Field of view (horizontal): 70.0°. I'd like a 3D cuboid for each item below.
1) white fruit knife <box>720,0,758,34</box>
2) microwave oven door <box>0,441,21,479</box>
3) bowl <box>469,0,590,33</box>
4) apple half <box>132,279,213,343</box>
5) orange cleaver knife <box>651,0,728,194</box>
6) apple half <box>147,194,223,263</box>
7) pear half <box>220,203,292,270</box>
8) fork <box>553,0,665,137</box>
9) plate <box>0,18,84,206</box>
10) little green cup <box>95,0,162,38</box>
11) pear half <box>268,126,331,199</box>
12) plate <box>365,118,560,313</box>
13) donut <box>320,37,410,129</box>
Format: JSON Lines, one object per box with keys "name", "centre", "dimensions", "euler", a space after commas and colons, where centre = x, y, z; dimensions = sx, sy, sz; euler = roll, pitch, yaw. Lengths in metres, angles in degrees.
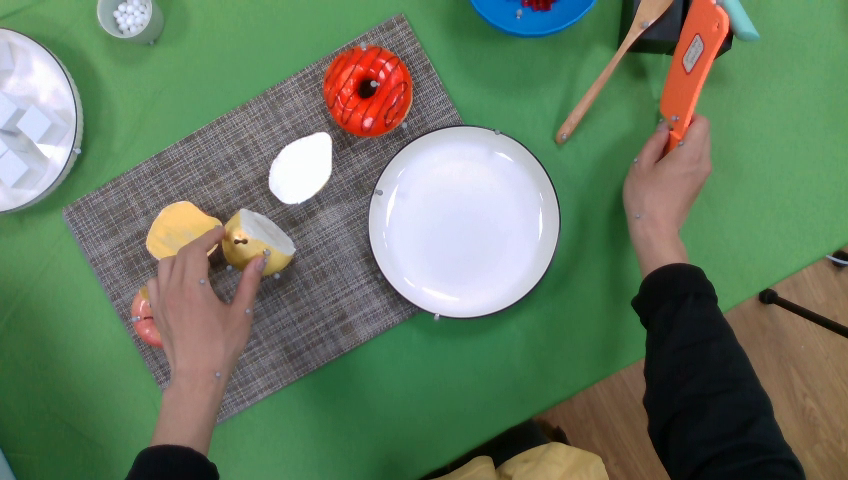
{"name": "white fruit knife", "centre": [0.277, -0.297, 0.604], "dimensions": [0.027, 0.016, 0.207], "euler": [-27, 89, -26]}
{"name": "microwave oven door", "centre": [-0.494, 0.261, 0.577], "dimensions": [0.039, 0.244, 0.355], "euler": [-27, 91, 3]}
{"name": "bowl", "centre": [0.107, -0.283, 0.630], "dimensions": [0.151, 0.077, 0.151], "euler": [0, 93, 2]}
{"name": "apple half", "centre": [-0.277, 0.082, 0.659], "dimensions": [0.081, 0.074, 0.053], "euler": [26, 97, -2]}
{"name": "orange cleaver knife", "centre": [0.261, -0.150, 0.620], "dimensions": [0.012, 0.076, 0.213], "euler": [-1, 126, -6]}
{"name": "apple half", "centre": [-0.263, -0.007, 0.671], "dimensions": [0.081, 0.033, 0.080], "euler": [2, 68, -5]}
{"name": "pear half", "centre": [-0.185, 0.003, 0.633], "dimensions": [0.076, 0.110, 0.056], "euler": [38, 96, 3]}
{"name": "fork", "centre": [0.196, -0.194, 0.625], "dimensions": [0.028, 0.018, 0.208], "euler": [30, 113, -5]}
{"name": "plate", "centre": [-0.479, -0.141, 0.680], "dimensions": [0.207, 0.039, 0.207], "euler": [0, 92, 3]}
{"name": "little green cup", "centre": [-0.323, -0.255, 0.668], "dimensions": [0.061, 0.038, 0.061], "euler": [0, 92, 3]}
{"name": "pear half", "centre": [-0.130, -0.083, 0.666], "dimensions": [0.070, 0.031, 0.088], "euler": [36, 84, 13]}
{"name": "plate", "centre": [0.041, -0.026, 0.659], "dimensions": [0.209, 0.038, 0.209], "euler": [0, 92, 2]}
{"name": "donut", "centre": [-0.064, -0.169, 0.654], "dimensions": [0.099, 0.048, 0.099], "euler": [0, 94, 5]}
